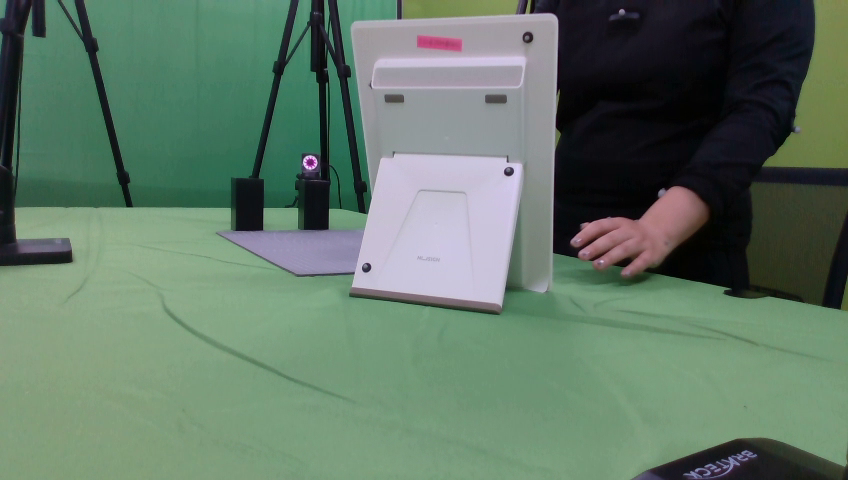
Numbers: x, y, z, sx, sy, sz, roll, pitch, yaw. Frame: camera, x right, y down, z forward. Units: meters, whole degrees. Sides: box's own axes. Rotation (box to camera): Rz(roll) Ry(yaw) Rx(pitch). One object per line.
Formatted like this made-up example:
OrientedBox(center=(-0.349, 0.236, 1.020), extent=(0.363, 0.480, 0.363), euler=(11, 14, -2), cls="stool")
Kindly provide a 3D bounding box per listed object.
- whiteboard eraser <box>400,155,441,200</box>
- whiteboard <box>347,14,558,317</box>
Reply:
OrientedBox(center=(-0.004, -0.086, 0.833), extent=(0.041, 0.019, 0.101), euler=(1, -23, 15), cls="whiteboard eraser")
OrientedBox(center=(0.012, -0.056, 0.609), extent=(0.216, 0.305, 0.144), euler=(5, 27, 20), cls="whiteboard")
